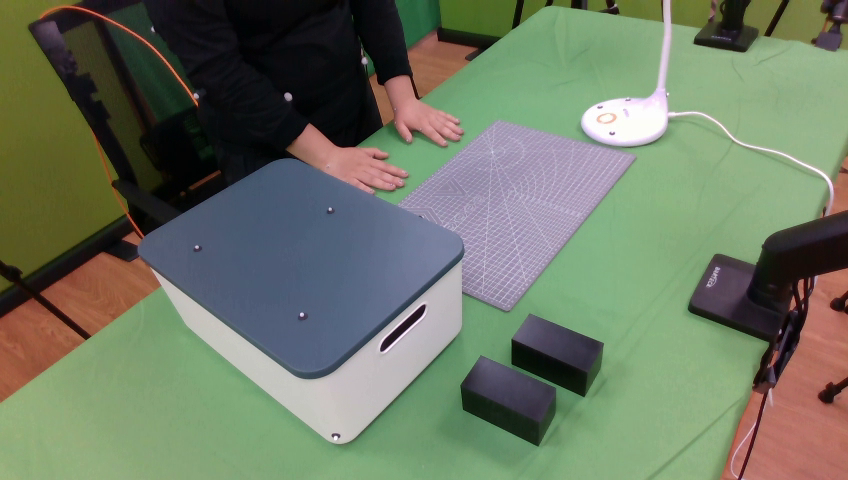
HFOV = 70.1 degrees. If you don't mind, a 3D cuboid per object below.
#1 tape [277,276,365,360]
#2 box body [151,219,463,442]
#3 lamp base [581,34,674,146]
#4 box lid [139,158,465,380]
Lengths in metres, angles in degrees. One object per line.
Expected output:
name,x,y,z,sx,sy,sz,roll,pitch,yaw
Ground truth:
tape,-0.140,0.106,0.832,0.117,0.053,0.116,-4,41,4
box body,-0.152,0.064,0.807,0.361,0.161,0.255,26,51,33
lamp base,0.392,-0.291,1.129,0.180,0.181,0.159,-11,41,-8
box lid,-0.158,0.010,0.758,0.368,0.015,0.264,26,50,33
